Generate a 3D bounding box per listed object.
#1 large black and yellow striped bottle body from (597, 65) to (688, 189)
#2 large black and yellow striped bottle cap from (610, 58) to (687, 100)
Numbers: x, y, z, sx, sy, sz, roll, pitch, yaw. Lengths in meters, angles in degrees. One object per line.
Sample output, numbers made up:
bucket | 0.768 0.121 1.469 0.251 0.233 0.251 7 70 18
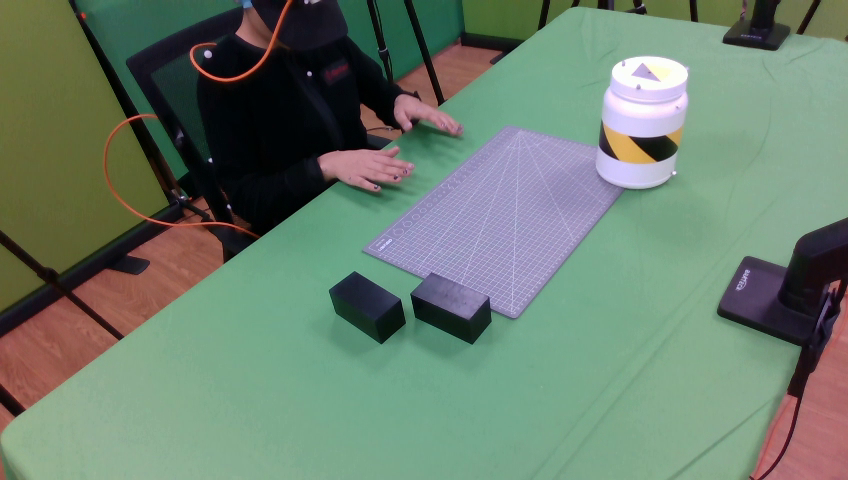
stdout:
large black and yellow striped bottle body | 0.363 -0.192 1.011 0.131 0.185 0.130 -4 40 4
large black and yellow striped bottle cap | 0.355 -0.257 0.958 0.115 0.019 0.114 -2 41 3
